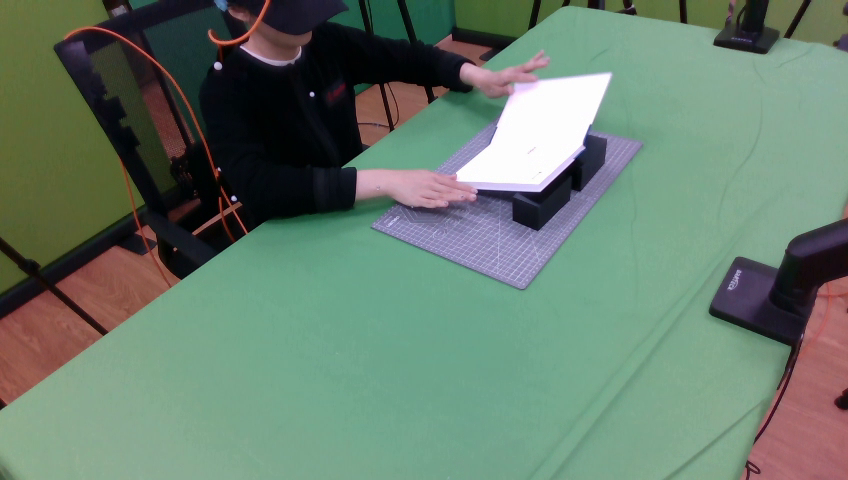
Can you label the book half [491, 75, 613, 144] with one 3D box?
[{"bbox_3d":[0.229,-0.237,1.112,0.208,0.007,0.143,9,68,46],"label":"book half"}]
